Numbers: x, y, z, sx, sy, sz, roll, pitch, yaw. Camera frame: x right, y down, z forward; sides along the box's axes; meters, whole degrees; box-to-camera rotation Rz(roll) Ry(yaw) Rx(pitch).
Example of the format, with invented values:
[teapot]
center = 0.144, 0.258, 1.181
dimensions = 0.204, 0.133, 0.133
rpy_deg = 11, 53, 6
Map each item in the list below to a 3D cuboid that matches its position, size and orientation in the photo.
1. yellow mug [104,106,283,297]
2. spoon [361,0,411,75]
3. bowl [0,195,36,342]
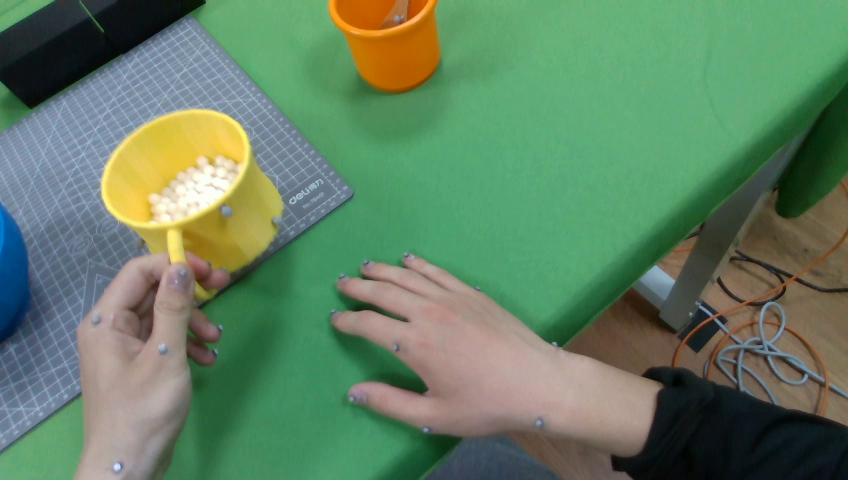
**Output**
[yellow mug]
center = -0.153, -0.022, 0.413
dimensions = 0.100, 0.064, 0.129
rpy_deg = -13, 58, 0
[spoon]
center = -0.004, -0.225, 0.496
dimensions = 0.041, 0.194, 0.022
rpy_deg = 42, 32, 22
[bowl]
center = -0.354, 0.035, 0.454
dimensions = 0.151, 0.077, 0.150
rpy_deg = -4, 62, 7
